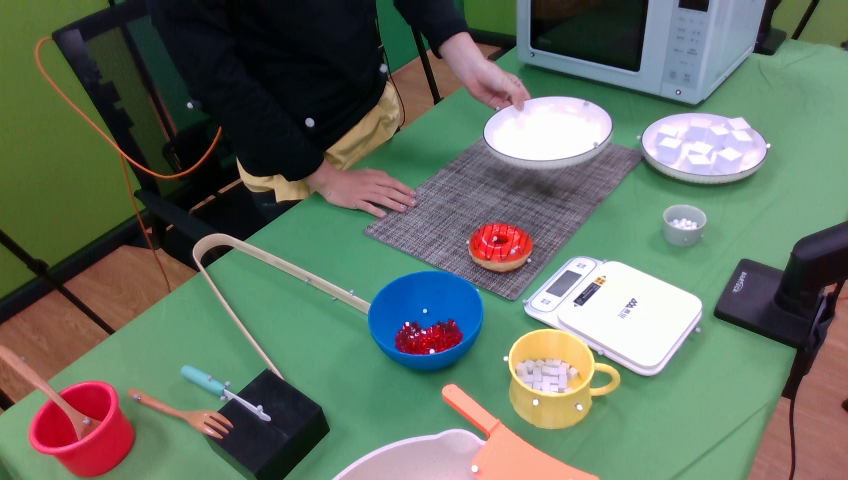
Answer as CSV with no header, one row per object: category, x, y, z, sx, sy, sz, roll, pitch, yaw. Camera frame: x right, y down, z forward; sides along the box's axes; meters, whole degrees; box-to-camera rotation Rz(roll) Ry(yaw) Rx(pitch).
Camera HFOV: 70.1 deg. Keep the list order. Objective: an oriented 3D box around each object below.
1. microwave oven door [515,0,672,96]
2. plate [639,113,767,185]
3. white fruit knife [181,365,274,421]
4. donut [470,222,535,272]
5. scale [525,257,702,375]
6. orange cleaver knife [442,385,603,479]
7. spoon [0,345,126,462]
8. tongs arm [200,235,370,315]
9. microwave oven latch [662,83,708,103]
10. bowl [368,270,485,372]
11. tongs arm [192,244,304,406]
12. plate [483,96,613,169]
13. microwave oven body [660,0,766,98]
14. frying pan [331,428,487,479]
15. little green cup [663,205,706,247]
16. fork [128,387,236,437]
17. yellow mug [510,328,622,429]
microwave oven door,0.343,-0.454,1.259,0.353,0.245,0.039,26,51,33
plate,0.489,-0.157,1.074,0.207,0.039,0.206,-4,40,4
white fruit knife,-0.245,0.187,0.747,0.205,0.027,0.016,9,41,40
donut,0.119,0.009,0.923,0.099,0.048,0.098,-4,38,3
scale,0.254,0.091,0.821,0.199,0.032,0.149,28,51,35
orange cleaver knife,0.086,0.219,0.612,0.209,0.012,0.077,28,49,35
spoon,-0.434,0.192,0.720,0.194,0.021,0.042,47,53,-7
tongs arm,-0.209,0.062,0.924,0.381,0.027,0.051,23,54,32
microwave oven latch,0.517,-0.296,1.204,0.078,0.029,0.030,27,52,35
bowl,0.007,0.118,0.791,0.151,0.077,0.150,-5,40,4
tongs arm,-0.268,0.111,0.884,0.028,0.028,0.384,-36,47,-17
plate,0.201,-0.172,0.991,0.209,0.038,0.208,-6,39,5
microwave oven body,0.472,-0.513,1.317,0.438,0.261,0.327,26,51,34
frying pan,-0.089,0.306,0.564,0.487,0.103,0.306,10,41,7
little green cup,0.396,-0.020,0.926,0.061,0.039,0.061,-4,40,4
fork,-0.305,0.207,0.744,0.206,0.019,0.028,3,40,36
yellow mug,0.168,0.164,0.721,0.130,0.064,0.099,0,40,8
